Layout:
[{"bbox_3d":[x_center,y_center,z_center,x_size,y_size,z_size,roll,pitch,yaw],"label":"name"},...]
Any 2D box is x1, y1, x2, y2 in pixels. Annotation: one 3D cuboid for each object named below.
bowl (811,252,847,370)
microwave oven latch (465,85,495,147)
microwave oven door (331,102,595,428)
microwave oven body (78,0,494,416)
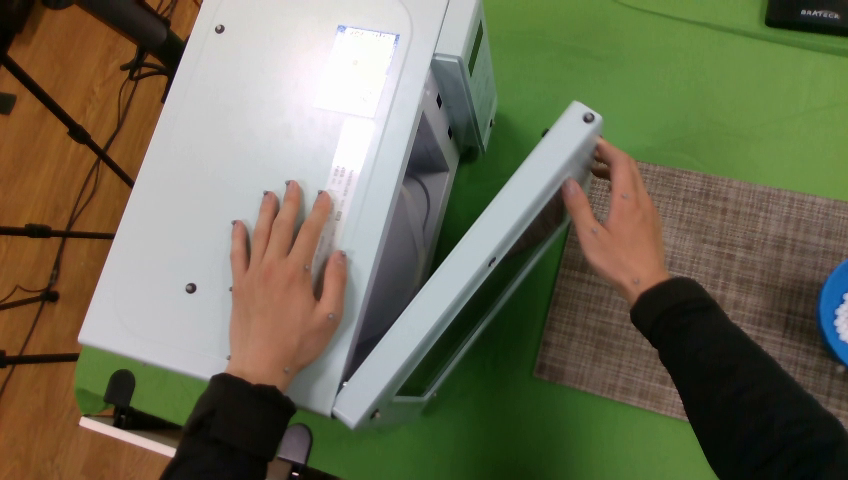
[{"bbox_3d":[0.488,0.083,0.651,0.151,0.077,0.150,-3,76,11],"label":"bowl"},{"bbox_3d":[0.073,-0.165,0.799,0.030,0.030,0.079,13,80,13],"label":"microwave oven latch"},{"bbox_3d":[0.057,0.045,0.644,0.039,0.245,0.355,37,85,18],"label":"microwave oven door"},{"bbox_3d":[-0.131,-0.052,0.709,0.325,0.262,0.440,12,80,13],"label":"microwave oven body"}]
